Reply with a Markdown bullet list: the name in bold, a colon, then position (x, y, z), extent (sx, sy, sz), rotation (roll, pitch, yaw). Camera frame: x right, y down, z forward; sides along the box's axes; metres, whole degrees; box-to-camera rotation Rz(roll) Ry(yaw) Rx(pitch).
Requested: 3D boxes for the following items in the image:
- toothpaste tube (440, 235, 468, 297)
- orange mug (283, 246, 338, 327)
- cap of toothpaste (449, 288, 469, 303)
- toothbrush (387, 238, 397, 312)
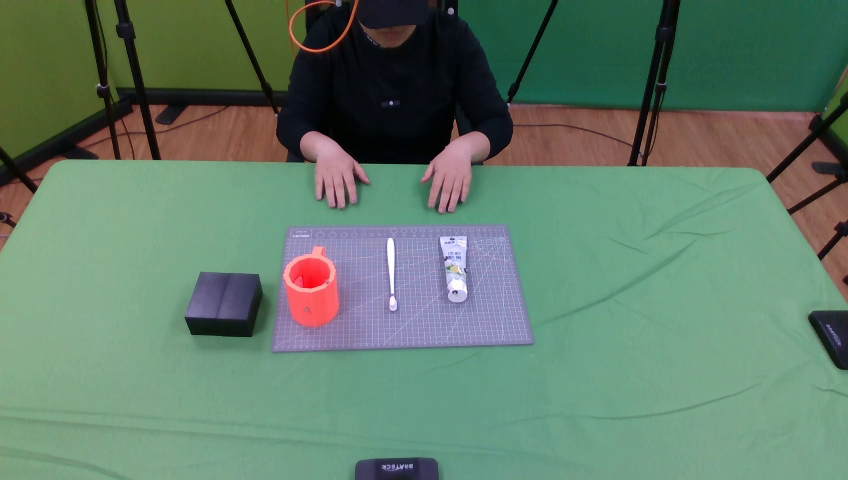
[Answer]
- **toothpaste tube**: position (0.062, 0.046, 1.150), extent (0.055, 0.035, 0.164), rotation (3, 43, -6)
- **orange mug**: position (-0.193, 0.073, 1.056), extent (0.083, 0.101, 0.125), rotation (5, 50, 1)
- **cap of toothpaste**: position (0.062, 0.098, 1.093), extent (0.037, 0.037, 0.011), rotation (1, 43, -2)
- **toothbrush**: position (-0.061, 0.059, 1.136), extent (0.014, 0.017, 0.180), rotation (-11, 45, 5)
